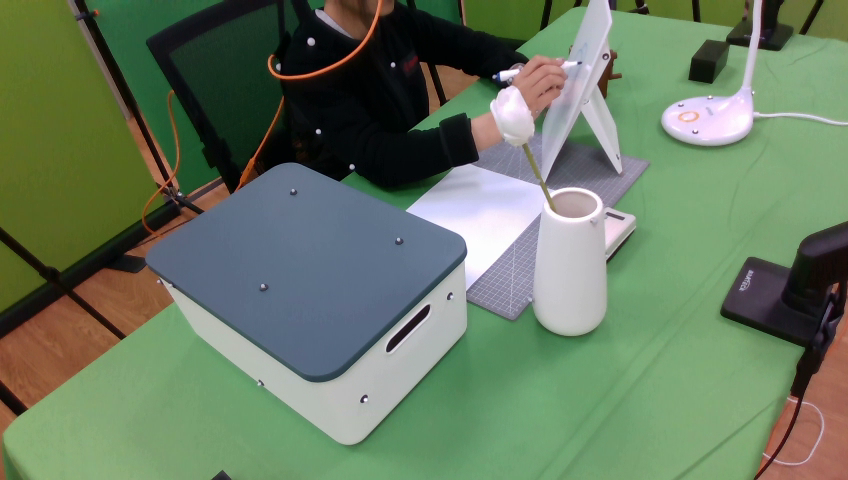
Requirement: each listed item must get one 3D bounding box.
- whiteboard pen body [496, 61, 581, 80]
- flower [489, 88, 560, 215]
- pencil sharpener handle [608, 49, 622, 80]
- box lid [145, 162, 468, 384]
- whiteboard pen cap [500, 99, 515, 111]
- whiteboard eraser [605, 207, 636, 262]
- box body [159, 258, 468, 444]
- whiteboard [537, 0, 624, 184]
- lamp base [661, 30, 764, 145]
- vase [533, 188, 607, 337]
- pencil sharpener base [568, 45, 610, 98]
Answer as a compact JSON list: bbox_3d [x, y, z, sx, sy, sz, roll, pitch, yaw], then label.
[{"bbox_3d":[0.190,-0.284,1.006,0.140,0.017,0.017,-5,40,15],"label":"whiteboard pen body"},{"bbox_3d":[0.158,-0.028,0.720,0.038,0.364,0.044,-14,44,23],"label":"flower"},{"bbox_3d":[0.394,-0.368,1.253,0.030,0.068,0.036,-9,32,1],"label":"pencil sharpener handle"},{"bbox_3d":[-0.157,0.014,0.769,0.368,0.015,0.264,25,51,33],"label":"box lid"},{"bbox_3d":[0.177,-0.287,1.289,0.033,0.018,0.018,-37,48,-25],"label":"whiteboard pen cap"},{"bbox_3d":[0.273,-0.003,0.919,0.055,0.042,0.113,27,51,32],"label":"whiteboard eraser"},{"bbox_3d":[-0.147,0.072,0.816,0.361,0.161,0.255,24,50,33],"label":"box body"},{"bbox_3d":[0.316,-0.256,1.047,0.144,0.306,0.216,15,42,-1],"label":"whiteboard"},{"bbox_3d":[0.535,-0.287,1.096,0.179,0.181,0.159,-10,40,-4],"label":"lamp base"},{"bbox_3d":[0.187,0.033,0.771,0.098,0.201,0.097,-6,41,6],"label":"vase"},{"bbox_3d":[0.345,-0.352,1.263,0.077,0.107,0.061,-9,40,1],"label":"pencil sharpener base"}]
